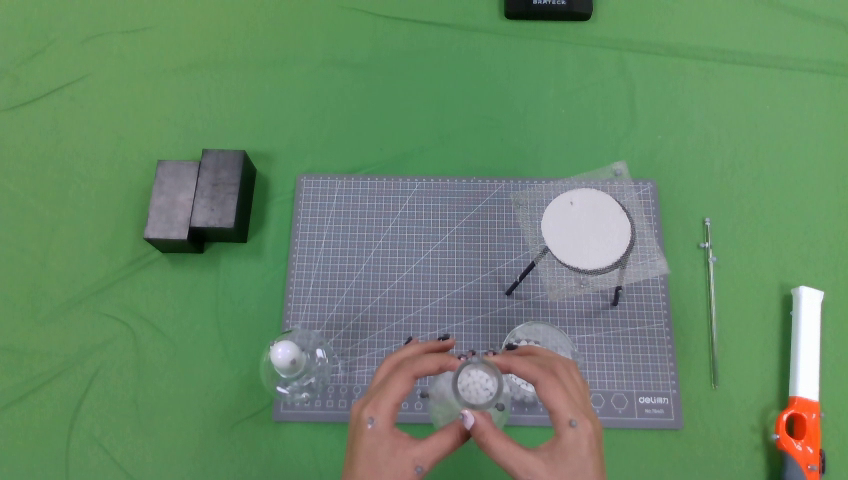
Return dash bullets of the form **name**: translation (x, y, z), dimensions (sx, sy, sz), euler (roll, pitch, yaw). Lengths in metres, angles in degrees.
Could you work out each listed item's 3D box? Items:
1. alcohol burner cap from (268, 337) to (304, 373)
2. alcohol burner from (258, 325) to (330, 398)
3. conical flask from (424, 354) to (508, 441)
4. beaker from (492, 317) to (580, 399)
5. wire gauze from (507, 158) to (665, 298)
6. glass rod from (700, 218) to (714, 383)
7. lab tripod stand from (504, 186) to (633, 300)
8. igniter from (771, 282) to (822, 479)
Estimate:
- **alcohol burner cap**: translation (-0.138, 0.111, 0.598), dimensions (0.034, 0.048, 0.033), euler (2, 69, -4)
- **alcohol burner**: translation (-0.138, 0.124, 0.631), dimensions (0.078, 0.120, 0.077), euler (0, 72, -1)
- **conical flask**: translation (0.037, 0.122, 0.491), dimensions (0.075, 0.122, 0.075), euler (0, 70, 0)
- **beaker**: translation (0.112, 0.128, 0.637), dimensions (0.084, 0.101, 0.073), euler (-1, 71, 0)
- **wire gauze**: translation (0.158, -0.013, 0.596), dimensions (0.125, 0.011, 0.120), euler (-15, 73, -4)
- **glass rod**: translation (0.330, 0.066, 0.708), dimensions (0.008, 0.008, 0.198), euler (6, 71, 2)
- **lab tripod stand**: translation (0.160, 0.011, 0.659), dimensions (0.148, 0.132, 0.147), euler (0, 73, 1)
- **igniter**: translation (0.407, 0.179, 0.660), dimensions (0.057, 0.025, 0.275), euler (16, 72, -5)
